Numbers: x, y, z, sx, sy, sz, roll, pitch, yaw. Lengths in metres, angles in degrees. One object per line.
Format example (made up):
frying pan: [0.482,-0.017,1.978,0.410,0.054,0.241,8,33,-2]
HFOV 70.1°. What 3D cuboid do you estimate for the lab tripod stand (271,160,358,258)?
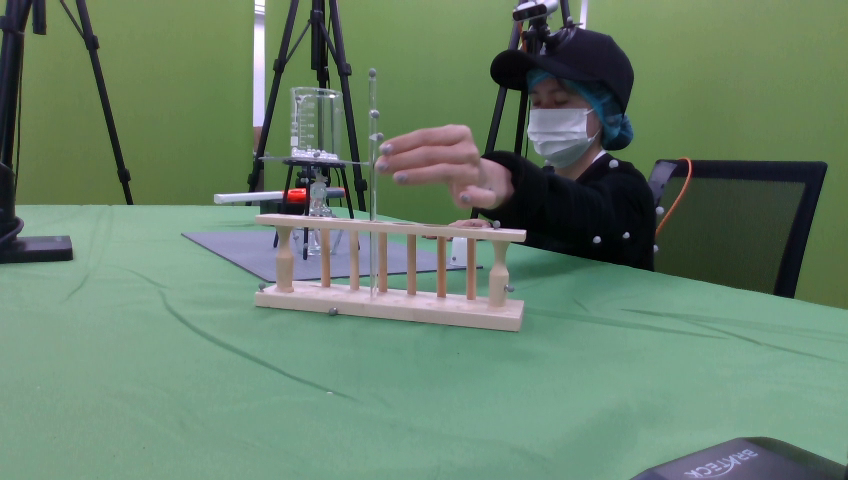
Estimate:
lab tripod stand: [-0.160,-0.048,0.876,0.148,0.131,0.148,3,5,0]

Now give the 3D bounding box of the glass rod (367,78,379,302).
glass rod: [-0.044,-0.038,0.526,0.008,0.199,0.008,0,14,0]

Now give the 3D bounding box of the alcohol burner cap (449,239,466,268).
alcohol burner cap: [0.051,0.014,0.827,0.034,0.048,0.034,2,5,0]

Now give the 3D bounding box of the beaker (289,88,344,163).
beaker: [-0.157,-0.160,0.862,0.083,0.100,0.074,7,7,34]

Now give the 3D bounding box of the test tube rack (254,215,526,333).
test tube rack: [-0.030,0.025,0.557,0.242,0.085,0.067,4,8,12]

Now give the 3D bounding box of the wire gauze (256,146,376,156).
wire gauze: [-0.155,-0.128,0.871,0.124,0.011,0.122,2,7,36]

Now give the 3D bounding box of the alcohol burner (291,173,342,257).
alcohol burner: [-0.155,-0.037,0.870,0.078,0.119,0.078,2,6,0]

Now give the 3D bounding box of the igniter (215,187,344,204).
igniter: [-0.289,-0.093,1.255,0.278,0.025,0.057,-6,12,-34]
